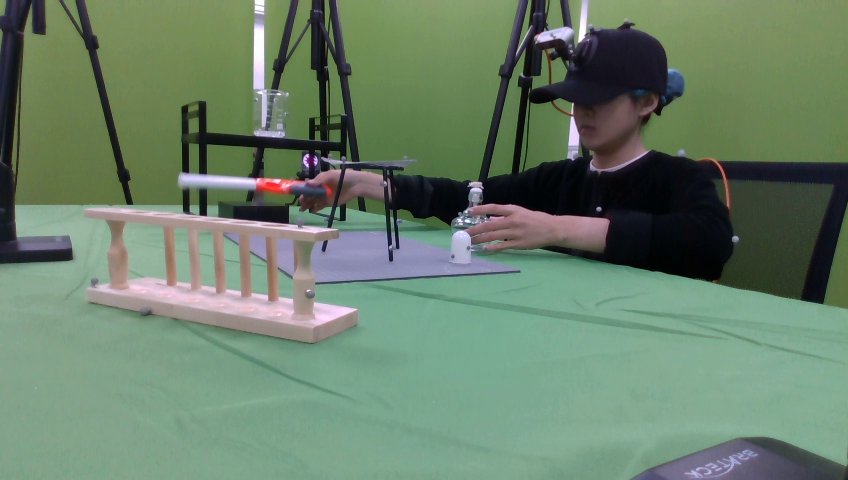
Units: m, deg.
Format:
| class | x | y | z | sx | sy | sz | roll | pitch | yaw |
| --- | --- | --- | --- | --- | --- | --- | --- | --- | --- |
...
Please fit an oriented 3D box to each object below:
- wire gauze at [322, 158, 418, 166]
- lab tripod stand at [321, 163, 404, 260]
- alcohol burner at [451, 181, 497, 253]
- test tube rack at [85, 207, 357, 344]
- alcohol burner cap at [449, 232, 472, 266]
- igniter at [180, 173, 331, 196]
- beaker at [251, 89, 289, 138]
| class | x | y | z | sx | sy | sz | roll | pitch | yaw |
| --- | --- | --- | --- | --- | --- | --- | --- | --- | --- |
| wire gauze | -0.081 | -0.112 | 0.877 | 0.122 | 0.011 | 0.124 | 0 | 6 | -18 |
| lab tripod stand | -0.075 | -0.045 | 0.884 | 0.148 | 0.131 | 0.148 | 2 | 5 | 0 |
| alcohol burner | 0.085 | -0.039 | 1.006 | 0.078 | 0.119 | 0.078 | 4 | 8 | 0 |
| test tube rack | -0.177 | 0.022 | 0.518 | 0.241 | 0.085 | 0.067 | 6 | 7 | 23 |
| alcohol burner cap | 0.052 | 0.012 | 0.843 | 0.034 | 0.048 | 0.034 | 1 | 6 | 0 |
| igniter | -0.307 | -0.103 | 1.130 | 0.278 | 0.025 | 0.057 | 2 | 20 | -34 |
| beaker | -0.334 | -0.273 | 1.316 | 0.084 | 0.100 | 0.074 | 6 | 8 | 15 |
